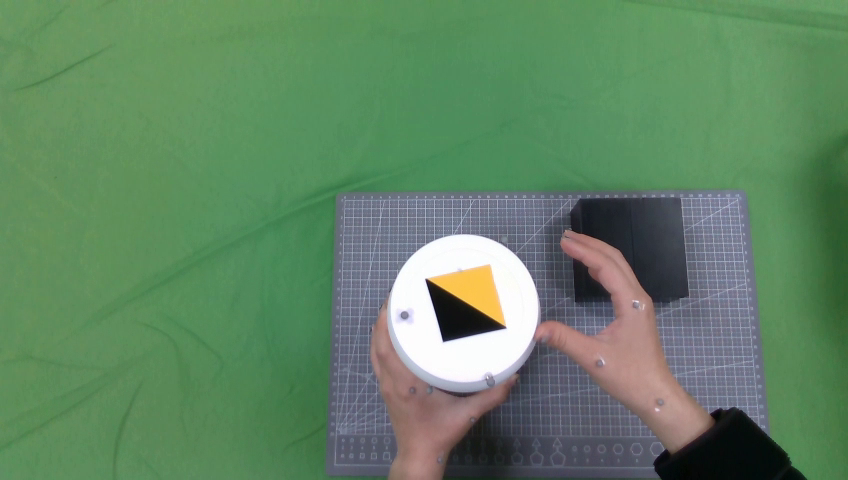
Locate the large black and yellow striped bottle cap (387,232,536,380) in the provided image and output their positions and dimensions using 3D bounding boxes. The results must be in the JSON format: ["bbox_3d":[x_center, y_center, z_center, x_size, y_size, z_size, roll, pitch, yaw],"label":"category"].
[{"bbox_3d":[0.029,0.050,0.468,0.115,0.019,0.114,0,80,3],"label":"large black and yellow striped bottle cap"}]

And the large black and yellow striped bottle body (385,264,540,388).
[{"bbox_3d":[0.034,0.068,0.554,0.131,0.184,0.130,0,78,2],"label":"large black and yellow striped bottle body"}]
